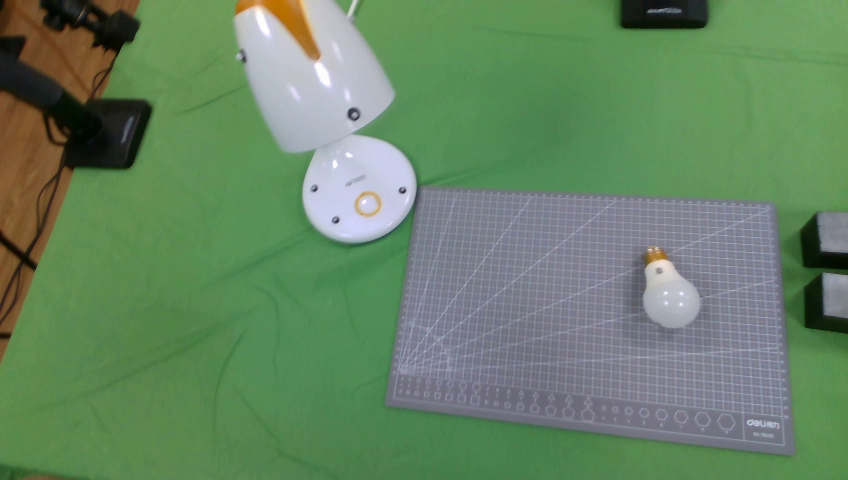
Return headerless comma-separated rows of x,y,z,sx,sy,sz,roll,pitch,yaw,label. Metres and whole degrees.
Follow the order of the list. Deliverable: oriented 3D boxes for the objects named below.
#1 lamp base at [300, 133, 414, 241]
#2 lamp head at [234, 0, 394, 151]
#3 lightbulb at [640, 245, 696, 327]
-0.112,-0.111,0.767,0.160,0.182,0.177,-35,64,-6,lamp base
-0.099,-0.151,0.495,0.112,0.124,0.111,-22,26,12,lamp head
0.276,0.050,0.705,0.059,0.060,0.106,-10,51,6,lightbulb
